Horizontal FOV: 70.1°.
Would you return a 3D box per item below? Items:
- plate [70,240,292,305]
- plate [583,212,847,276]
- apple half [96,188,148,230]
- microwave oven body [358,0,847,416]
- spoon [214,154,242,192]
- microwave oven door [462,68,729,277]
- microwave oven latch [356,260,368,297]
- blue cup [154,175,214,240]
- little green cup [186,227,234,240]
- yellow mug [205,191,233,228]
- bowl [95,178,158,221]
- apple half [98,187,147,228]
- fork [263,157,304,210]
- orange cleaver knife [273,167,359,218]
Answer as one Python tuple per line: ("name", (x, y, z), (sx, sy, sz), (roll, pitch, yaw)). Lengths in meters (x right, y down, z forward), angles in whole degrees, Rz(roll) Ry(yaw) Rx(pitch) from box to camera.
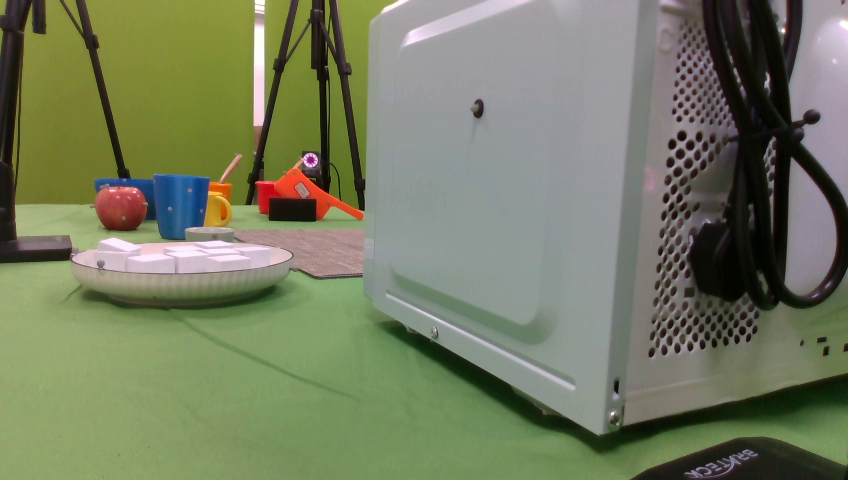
("plate", (-0.242, 0.031, 0.618), (0.208, 0.039, 0.207), (2, 8, 0))
("plate", (0.239, 0.000, 0.510), (0.209, 0.038, 0.209), (2, 6, 0))
("apple half", (-0.517, -0.052, 1.036), (0.081, 0.074, 0.053), (2, 10, -26))
("microwave oven body", (0.211, -0.047, 0.474), (0.444, 0.260, 0.324), (-1, 7, -28))
("spoon", (-0.439, -0.124, 1.318), (0.041, 0.193, 0.022), (6, -37, 16))
("microwave oven door", (0.205, -0.095, 0.811), (0.354, 0.243, 0.039), (9, 11, 40))
("microwave oven latch", (-0.020, 0.033, 0.530), (0.079, 0.029, 0.030), (0, 7, -26))
("blue cup", (-0.390, -0.053, 0.978), (0.093, 0.100, 0.092), (3, 6, 0))
("little green cup", (-0.284, 0.005, 0.805), (0.061, 0.038, 0.061), (2, 8, 0))
("yellow mug", (-0.415, -0.057, 1.131), (0.130, 0.064, 0.100), (6, 8, 16))
("bowl", (-0.576, -0.081, 1.217), (0.151, 0.077, 0.151), (3, 8, 0))
("apple half", (-0.534, -0.059, 1.071), (0.082, 0.081, 0.032), (-1, 11, -25))
("fork", (-0.345, -0.143, 1.506), (0.028, 0.019, 0.207), (-4, 46, 28))
("orange cleaver knife", (-0.238, -0.091, 1.381), (0.212, 0.077, 0.012), (31, 0, -19))
